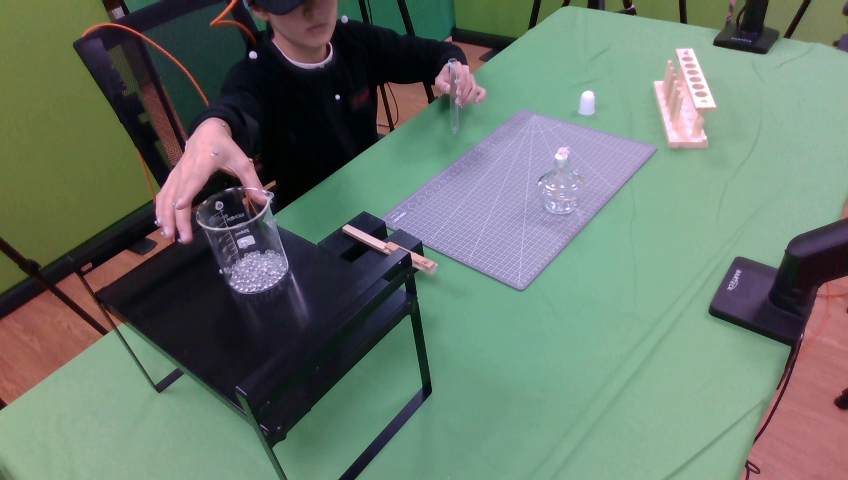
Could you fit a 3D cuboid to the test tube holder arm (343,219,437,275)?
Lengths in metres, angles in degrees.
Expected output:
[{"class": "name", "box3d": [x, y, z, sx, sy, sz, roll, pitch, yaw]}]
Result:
[{"class": "test tube holder arm", "box3d": [-0.054, 0.008, 0.898, 0.177, 0.013, 0.015, 27, 58, 29]}]

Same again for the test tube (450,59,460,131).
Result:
[{"class": "test tube", "box3d": [0.058, -0.265, 1.118, 0.017, 0.151, 0.017, -3, 47, 3]}]

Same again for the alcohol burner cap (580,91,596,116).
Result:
[{"class": "alcohol burner cap", "box3d": [0.338, -0.283, 1.238, 0.034, 0.048, 0.033, -5, 42, 5]}]

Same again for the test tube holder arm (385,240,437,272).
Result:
[{"class": "test tube holder arm", "box3d": [-0.020, 0.022, 0.872, 0.087, 0.010, 0.015, 26, 57, 30]}]

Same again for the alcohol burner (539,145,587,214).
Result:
[{"class": "alcohol burner", "box3d": [0.226, -0.102, 0.986, 0.078, 0.119, 0.077, -6, 41, 6]}]

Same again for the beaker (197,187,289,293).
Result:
[{"class": "beaker", "box3d": [-0.191, 0.001, 0.666, 0.084, 0.101, 0.073, -31, 46, -25]}]

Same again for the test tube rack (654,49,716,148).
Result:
[{"class": "test tube rack", "box3d": [0.502, -0.281, 1.176, 0.066, 0.085, 0.241, 1, 41, 11]}]
